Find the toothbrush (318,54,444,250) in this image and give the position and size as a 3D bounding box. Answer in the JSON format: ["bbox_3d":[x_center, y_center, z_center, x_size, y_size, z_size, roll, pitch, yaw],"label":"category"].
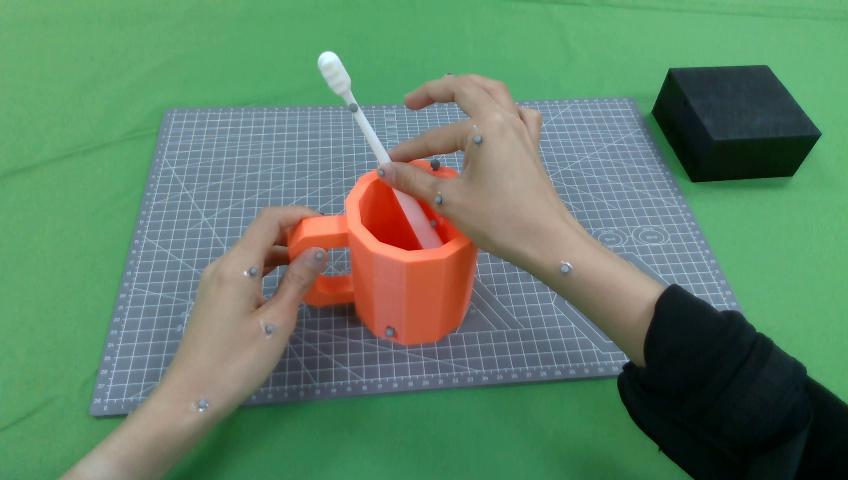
[{"bbox_3d":[-0.016,-0.034,0.387,0.014,0.183,0.016,-30,31,1],"label":"toothbrush"}]

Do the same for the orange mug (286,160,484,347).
[{"bbox_3d":[-0.025,0.011,0.403,0.126,0.101,0.082,-4,51,-12],"label":"orange mug"}]
